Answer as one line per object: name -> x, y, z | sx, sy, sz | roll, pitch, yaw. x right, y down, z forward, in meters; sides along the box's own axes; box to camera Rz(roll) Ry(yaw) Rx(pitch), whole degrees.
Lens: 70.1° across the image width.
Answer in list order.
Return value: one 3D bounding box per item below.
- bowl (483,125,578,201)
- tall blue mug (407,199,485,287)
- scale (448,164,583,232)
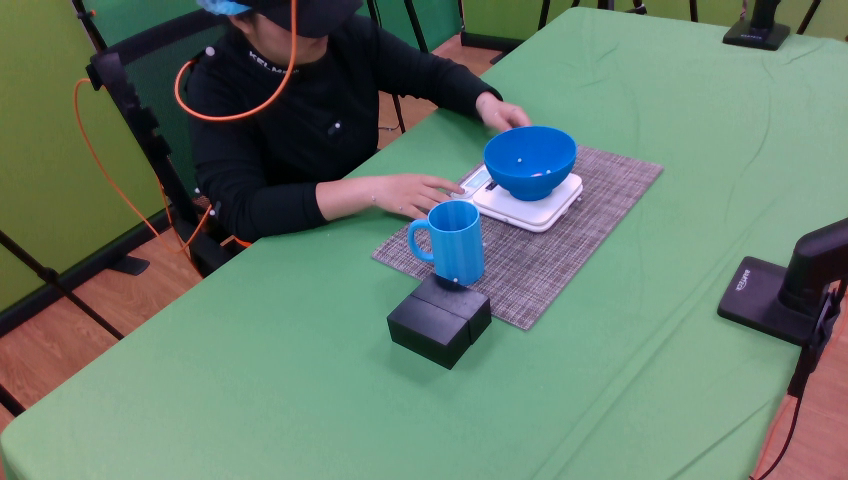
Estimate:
bowl -> 0.175, -0.117, 0.991 | 0.151, 0.077, 0.150 | -6, 40, 5
tall blue mug -> 0.034, 0.008, 0.892 | 0.107, 0.108, 0.077 | -13, 41, -5
scale -> 0.156, -0.085, 1.040 | 0.199, 0.032, 0.149 | 22, 49, 32
